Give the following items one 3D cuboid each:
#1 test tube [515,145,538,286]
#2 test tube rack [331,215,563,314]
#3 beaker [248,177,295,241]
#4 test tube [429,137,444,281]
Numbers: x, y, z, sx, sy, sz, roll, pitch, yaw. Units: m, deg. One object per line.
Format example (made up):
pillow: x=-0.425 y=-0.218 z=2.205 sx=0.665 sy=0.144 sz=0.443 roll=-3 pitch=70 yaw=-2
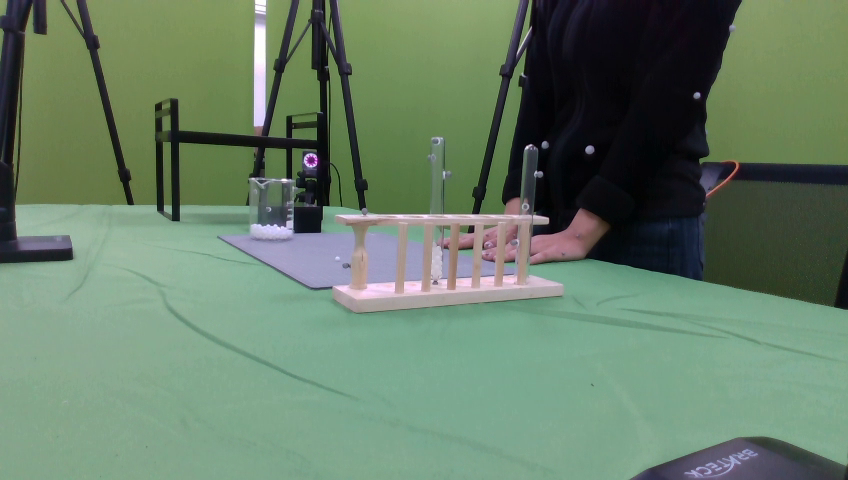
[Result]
test tube: x=0.108 y=-0.024 z=0.639 sx=0.017 sy=0.150 sz=0.017 roll=2 pitch=9 yaw=0
test tube rack: x=0.031 y=0.019 z=0.626 sx=0.243 sy=0.085 sz=0.066 roll=-1 pitch=8 yaw=-28
beaker: x=-0.252 y=-0.051 z=0.992 sx=0.074 sy=0.100 sz=0.084 roll=3 pitch=9 yaw=6
test tube: x=0.013 y=-0.032 z=0.631 sx=0.017 sy=0.150 sz=0.017 roll=1 pitch=3 yaw=0
